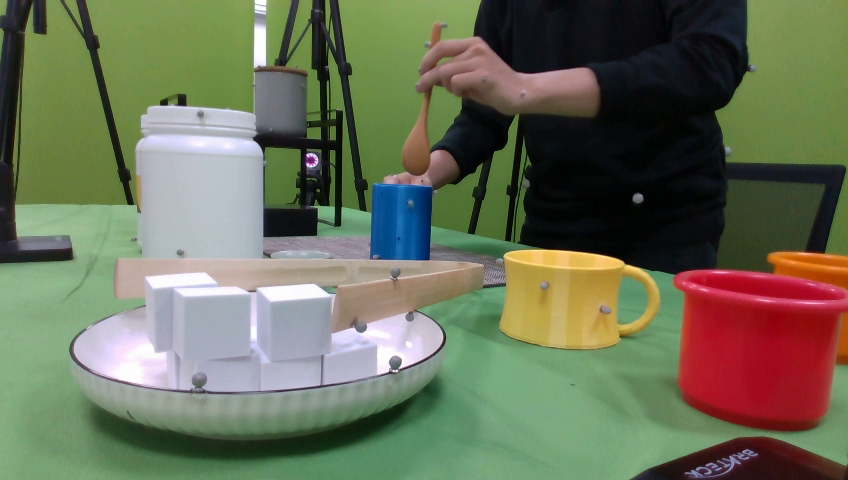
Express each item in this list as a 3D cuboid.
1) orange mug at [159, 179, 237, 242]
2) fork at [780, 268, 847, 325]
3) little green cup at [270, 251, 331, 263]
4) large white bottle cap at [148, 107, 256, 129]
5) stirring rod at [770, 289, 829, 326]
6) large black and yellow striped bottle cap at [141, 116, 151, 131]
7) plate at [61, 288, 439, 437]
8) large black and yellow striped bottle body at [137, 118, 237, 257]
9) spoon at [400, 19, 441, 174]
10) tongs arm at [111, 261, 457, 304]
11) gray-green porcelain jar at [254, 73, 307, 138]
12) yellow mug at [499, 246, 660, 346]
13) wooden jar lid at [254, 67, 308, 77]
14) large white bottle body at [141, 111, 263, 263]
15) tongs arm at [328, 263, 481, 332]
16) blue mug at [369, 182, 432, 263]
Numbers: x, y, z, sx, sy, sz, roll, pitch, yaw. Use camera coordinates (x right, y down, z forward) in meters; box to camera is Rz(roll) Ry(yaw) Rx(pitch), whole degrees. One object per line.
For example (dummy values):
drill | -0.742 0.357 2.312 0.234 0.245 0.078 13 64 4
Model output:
orange mug | -0.368 -0.051 0.991 0.127 0.101 0.083 -10 14 -41
fork | 0.324 0.018 0.441 0.028 0.018 0.207 -3 -36 -5
little green cup | -0.129 0.034 0.629 0.061 0.038 0.061 2 6 0
large white bottle cap | -0.250 -0.137 0.686 0.115 0.018 0.115 3 8 0
stirring rod | 0.349 0.022 0.468 0.014 0.006 0.175 -12 -26 -50
large black and yellow striped bottle cap | -0.328 -0.158 0.837 0.115 0.019 0.115 2 6 0
plate | -0.095 0.069 0.362 0.208 0.039 0.207 3 7 0
large black and yellow striped bottle body | -0.330 -0.075 0.849 0.131 0.184 0.130 2 8 0
spoon | 0.001 -0.180 0.768 0.041 0.193 0.022 12 6 22
tongs arm | -0.080 0.032 0.527 0.028 0.027 0.389 -3 -3 33
gray-green porcelain jar | -0.298 -0.277 1.259 0.106 0.126 0.106 3 8 0
yellow mug | 0.130 0.045 0.508 0.131 0.064 0.100 4 7 6
wooden jar lid | -0.296 -0.339 1.251 0.108 0.020 0.108 1 7 0
large white bottle body | -0.254 -0.053 0.697 0.131 0.184 0.130 2 7 0
tongs arm | -0.003 0.036 0.493 0.050 0.026 0.386 1 0 19
blue mug | -0.027 -0.026 0.837 0.082 0.106 0.117 4 7 17
